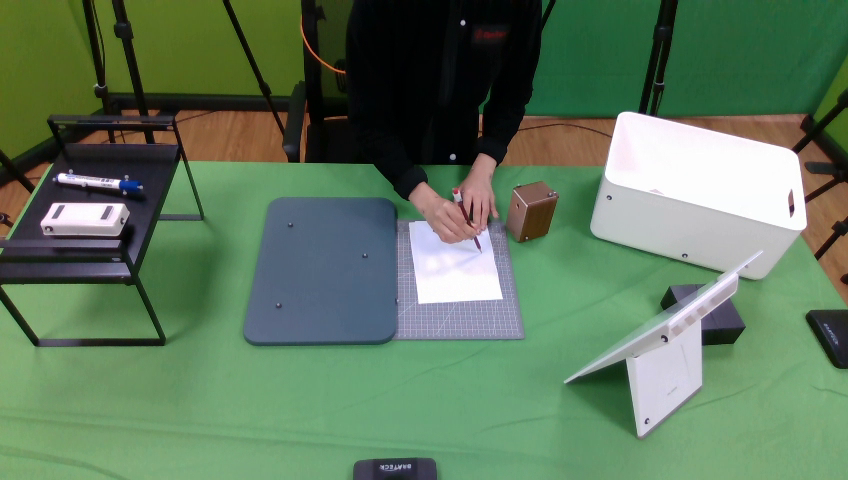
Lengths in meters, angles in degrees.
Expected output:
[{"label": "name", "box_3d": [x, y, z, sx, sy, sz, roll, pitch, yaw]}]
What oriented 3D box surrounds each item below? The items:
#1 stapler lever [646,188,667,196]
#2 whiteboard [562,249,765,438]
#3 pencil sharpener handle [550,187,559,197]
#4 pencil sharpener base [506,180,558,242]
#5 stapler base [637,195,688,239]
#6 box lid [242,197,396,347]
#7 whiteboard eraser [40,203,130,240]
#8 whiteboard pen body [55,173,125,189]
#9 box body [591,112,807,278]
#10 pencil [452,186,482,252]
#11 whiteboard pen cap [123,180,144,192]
[{"label": "stapler lever", "box_3d": [0.507, -0.075, 1.262, 0.027, 0.040, 0.117, -14, 46, -19]}, {"label": "whiteboard", "box_3d": [0.386, 0.175, 0.905, 0.217, 0.306, 0.143, -26, 72, -26]}, {"label": "pencil sharpener handle", "box_3d": [0.261, -0.084, 1.221, 0.031, 0.068, 0.036, -16, 65, -19]}, {"label": "pencil sharpener base", "box_3d": [0.216, -0.058, 1.211, 0.077, 0.107, 0.061, -16, 49, -19]}, {"label": "stapler base", "box_3d": [0.507, -0.055, 1.280, 0.041, 0.024, 0.129, -14, 47, -19]}, {"label": "box lid", "box_3d": [-0.186, 0.046, 1.147, 0.263, 0.015, 0.369, 0, 46, -3]}, {"label": "whiteboard eraser", "box_3d": [-0.513, -0.028, 0.922, 0.113, 0.042, 0.055, 1, 48, -3]}, {"label": "whiteboard pen body", "box_3d": [-0.539, -0.095, 0.998, 0.141, 0.017, 0.017, 6, 46, 6]}, {"label": "box body", "box_3d": [0.540, -0.092, 1.229, 0.363, 0.161, 0.253, 16, 47, 11]}, {"label": "pencil", "box_3d": [0.083, -0.033, 1.119, 0.012, 0.195, 0.012, -11, 51, 14]}, {"label": "whiteboard pen cap", "box_3d": [-0.479, -0.089, 0.993, 0.033, 0.018, 0.018, 7, 46, 14]}]
